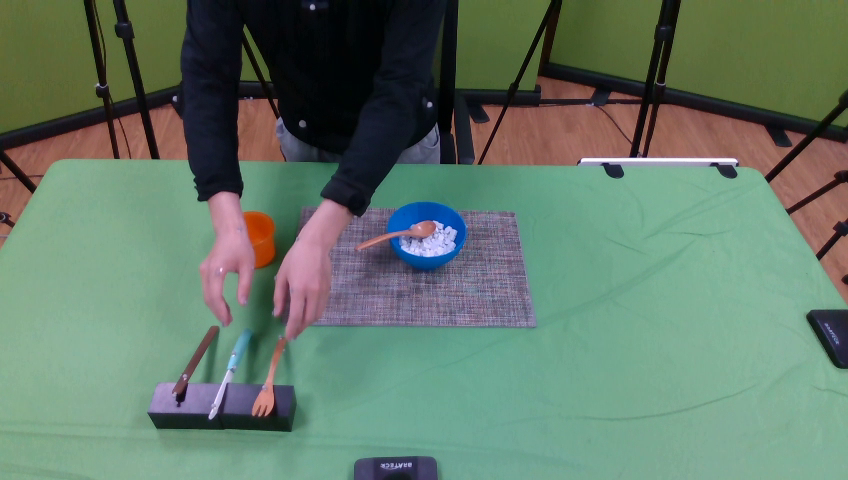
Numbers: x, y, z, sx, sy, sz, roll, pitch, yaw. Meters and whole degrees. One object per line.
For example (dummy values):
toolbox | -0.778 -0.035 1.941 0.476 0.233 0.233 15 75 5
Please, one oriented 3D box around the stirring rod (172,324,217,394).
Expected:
stirring rod | -0.361 0.184 0.961 0.014 0.006 0.175 2 27 -1

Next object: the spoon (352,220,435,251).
spoon | -0.054 -0.009 1.109 0.194 0.022 0.041 -14 40 -43

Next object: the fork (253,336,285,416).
fork | -0.236 0.206 0.938 0.028 0.019 0.206 -1 26 -4

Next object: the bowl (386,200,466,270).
bowl | 0.002 0.003 1.150 0.151 0.077 0.150 2 46 -2

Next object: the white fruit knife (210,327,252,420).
white fruit knife | -0.298 0.200 0.937 0.016 0.027 0.206 0 30 0
